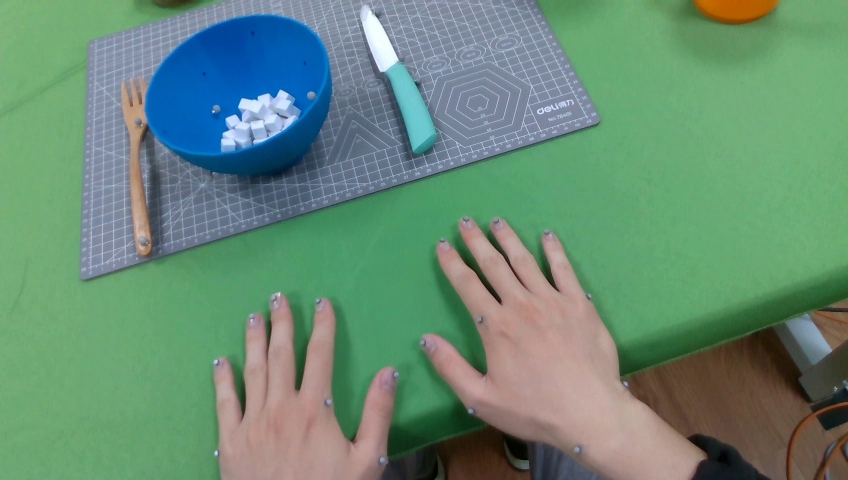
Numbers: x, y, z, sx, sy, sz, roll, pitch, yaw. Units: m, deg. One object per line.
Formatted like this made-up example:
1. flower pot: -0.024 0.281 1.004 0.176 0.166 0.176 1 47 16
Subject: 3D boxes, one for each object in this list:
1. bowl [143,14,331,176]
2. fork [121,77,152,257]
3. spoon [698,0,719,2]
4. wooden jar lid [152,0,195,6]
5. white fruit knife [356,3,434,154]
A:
1. bowl: -0.143 -0.107 0.509 0.151 0.077 0.150 -4 60 7
2. fork: -0.255 -0.071 0.540 0.028 0.019 0.205 -14 57 -8
3. spoon: 0.309 -0.265 0.491 0.022 0.194 0.041 11 56 -37
4. wooden jar lid: -0.271 -0.300 0.674 0.108 0.021 0.107 -3 61 5
5. white fruit knife: -0.031 -0.157 0.555 0.027 0.016 0.205 -13 58 -14
